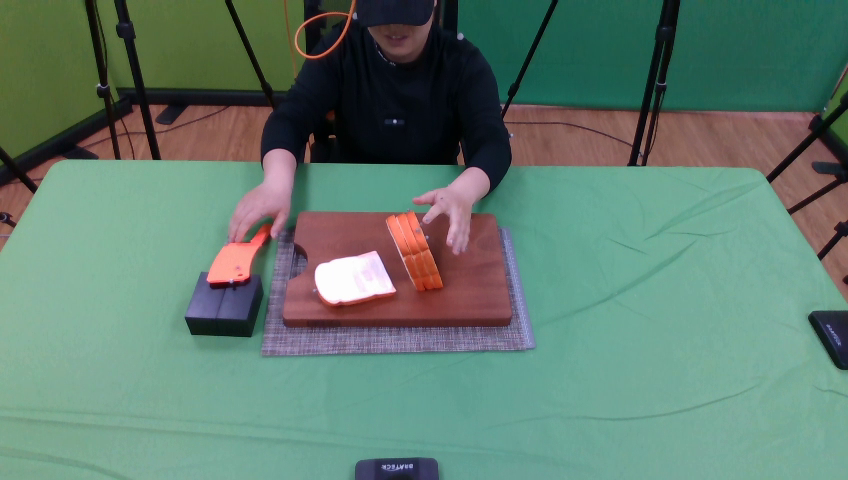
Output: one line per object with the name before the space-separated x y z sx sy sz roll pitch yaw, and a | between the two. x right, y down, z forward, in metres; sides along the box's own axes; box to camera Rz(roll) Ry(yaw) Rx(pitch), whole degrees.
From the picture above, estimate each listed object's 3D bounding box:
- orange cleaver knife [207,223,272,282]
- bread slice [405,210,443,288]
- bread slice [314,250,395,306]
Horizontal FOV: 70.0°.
orange cleaver knife | -0.337 0.020 1.122 0.077 0.012 0.210 3 29 3
bread slice | -0.002 0.013 1.073 0.018 0.135 0.106 -22 50 -2
bread slice | -0.130 0.071 1.077 0.132 0.019 0.104 -11 49 -20
